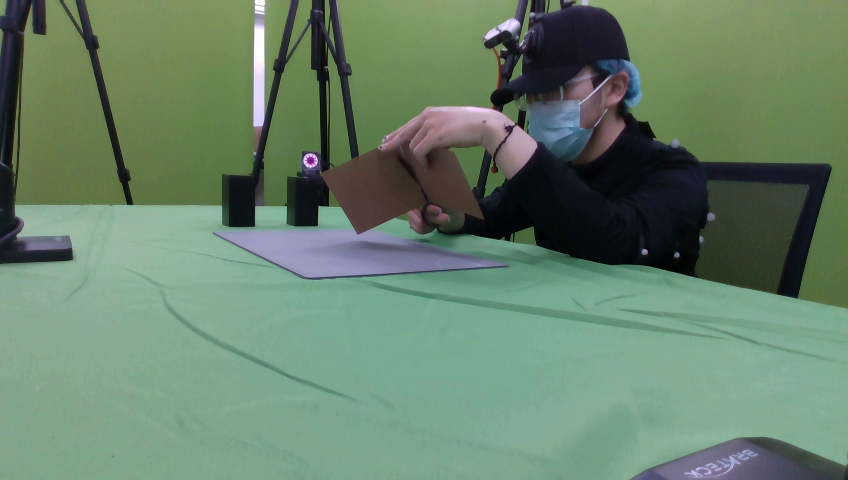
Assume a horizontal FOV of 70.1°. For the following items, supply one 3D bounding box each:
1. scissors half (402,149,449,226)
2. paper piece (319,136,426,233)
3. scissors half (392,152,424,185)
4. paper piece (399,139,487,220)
[{"bbox_3d":[-0.004,-0.089,1.014,0.012,0.176,0.040,5,45,46],"label":"scissors half"},{"bbox_3d":[-0.081,-0.089,0.999,0.136,0.136,0.004,-25,34,4],"label":"paper piece"},{"bbox_3d":[0.006,-0.108,1.023,0.013,0.040,0.176,-1,-19,43],"label":"scissors half"},{"bbox_3d":[0.029,-0.096,0.941,0.008,0.136,0.137,-48,40,-18],"label":"paper piece"}]
